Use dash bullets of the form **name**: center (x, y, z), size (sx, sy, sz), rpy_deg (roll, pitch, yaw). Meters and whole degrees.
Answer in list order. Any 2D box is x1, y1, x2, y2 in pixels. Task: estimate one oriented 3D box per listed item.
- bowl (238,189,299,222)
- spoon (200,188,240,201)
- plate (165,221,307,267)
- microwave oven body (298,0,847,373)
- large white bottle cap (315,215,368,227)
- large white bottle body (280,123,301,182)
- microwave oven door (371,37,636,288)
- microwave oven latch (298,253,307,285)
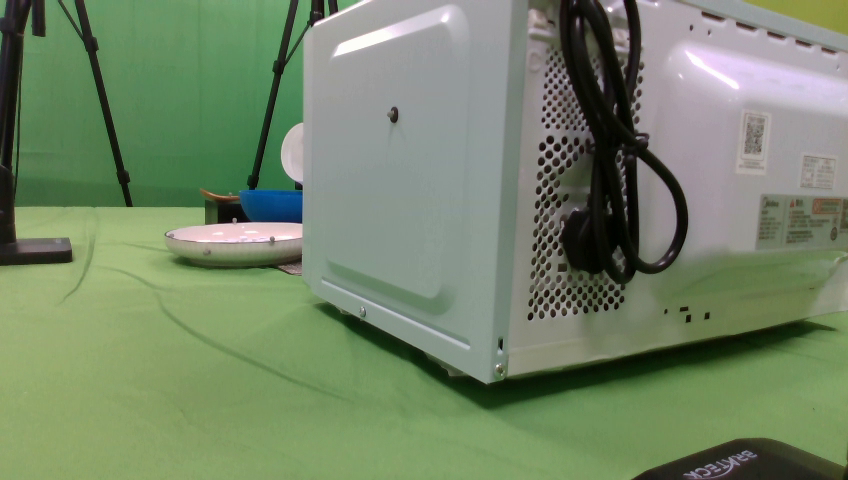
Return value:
- **bowl**: center (-0.245, -0.046, 1.053), size (0.151, 0.077, 0.151), rpy_deg (3, 8, 0)
- **spoon**: center (-0.338, -0.080, 1.190), size (0.194, 0.021, 0.041), rpy_deg (5, 3, -19)
- **plate**: center (-0.241, 0.004, 0.829), size (0.209, 0.038, 0.209), rpy_deg (0, 9, 0)
- **microwave oven body**: center (0.151, -0.055, 0.543), size (0.444, 0.260, 0.324), rpy_deg (-2, 7, -33)
- **large white bottle cap**: center (-0.177, -0.042, 1.309), size (0.115, 0.018, 0.115), rpy_deg (2, 6, 0)
- **large white bottle body**: center (-0.174, -0.157, 1.168), size (0.130, 0.130, 0.185), rpy_deg (7, 2, 29)
- **microwave oven door**: center (0.109, -0.080, 0.686), size (0.358, 0.243, 0.039), rpy_deg (-2, 9, -33)
- **microwave oven latch**: center (-0.082, 0.027, 0.583), size (0.079, 0.029, 0.030), rpy_deg (-2, 8, -33)
